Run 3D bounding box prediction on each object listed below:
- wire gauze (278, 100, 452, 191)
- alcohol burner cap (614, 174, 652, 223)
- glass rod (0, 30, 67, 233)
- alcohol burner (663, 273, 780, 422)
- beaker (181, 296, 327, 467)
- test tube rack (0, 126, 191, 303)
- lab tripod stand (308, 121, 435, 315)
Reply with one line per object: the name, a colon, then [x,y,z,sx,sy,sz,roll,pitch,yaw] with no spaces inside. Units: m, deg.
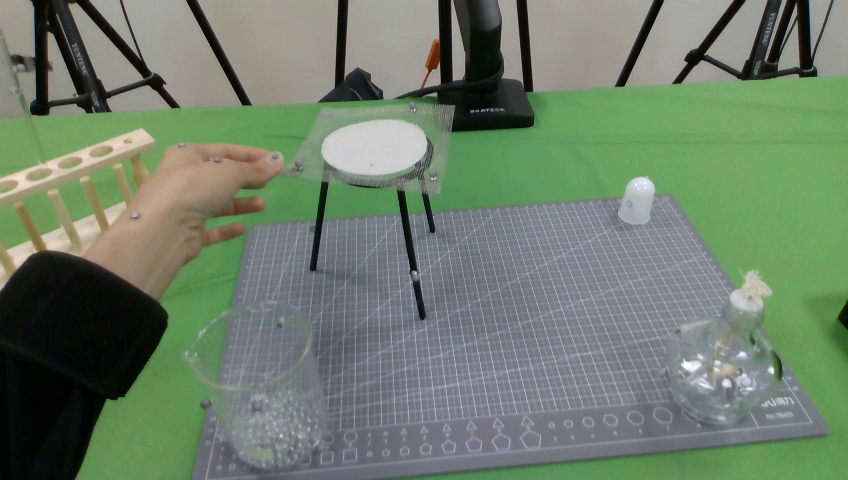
wire gauze: [-0.043,-0.082,0.492,0.125,0.011,0.120,4,41,8]
alcohol burner cap: [0.214,-0.045,0.615,0.034,0.048,0.033,-1,40,1]
glass rod: [-0.358,-0.092,0.558,0.008,0.201,0.008,2,33,-1]
alcohol burner: [0.210,0.071,0.422,0.078,0.120,0.077,-1,38,1]
beaker: [-0.109,0.099,0.410,0.084,0.101,0.073,-6,40,-4]
test tube rack: [-0.359,-0.018,0.573,0.242,0.086,0.066,-30,48,-30]
lab tripod stand: [-0.039,-0.024,0.528,0.148,0.133,0.147,-2,42,2]
